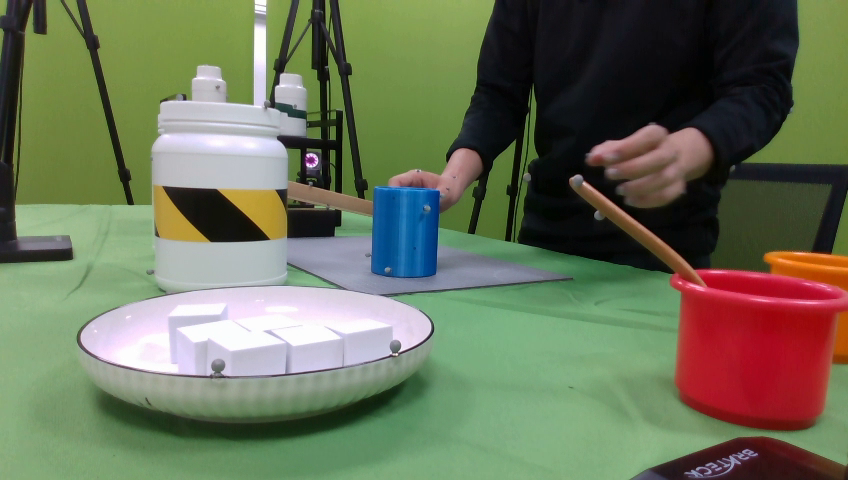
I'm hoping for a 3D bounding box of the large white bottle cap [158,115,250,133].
[{"bbox_3d":[-0.291,-0.153,0.803,0.115,0.018,0.115,1,7,0],"label":"large white bottle cap"}]

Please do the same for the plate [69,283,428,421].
[{"bbox_3d":[-0.102,0.066,0.381,0.208,0.039,0.207,2,7,0],"label":"plate"}]

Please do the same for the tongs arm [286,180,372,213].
[{"bbox_3d":[-0.122,-0.066,1.147,0.387,0.026,0.050,11,-2,-37],"label":"tongs arm"}]

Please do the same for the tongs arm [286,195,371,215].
[{"bbox_3d":[-0.165,-0.075,1.216,0.389,0.027,0.028,11,-6,-24],"label":"tongs arm"}]

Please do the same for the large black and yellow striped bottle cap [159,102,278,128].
[{"bbox_3d":[-0.207,-0.125,0.615,0.115,0.019,0.115,2,6,0],"label":"large black and yellow striped bottle cap"}]

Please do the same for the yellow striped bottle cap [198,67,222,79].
[{"bbox_3d":[-0.412,-0.320,1.162,0.044,0.018,0.044,1,6,0],"label":"yellow striped bottle cap"}]

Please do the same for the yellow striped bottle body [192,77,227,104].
[{"bbox_3d":[-0.414,-0.268,1.169,0.063,0.120,0.063,2,7,0],"label":"yellow striped bottle body"}]

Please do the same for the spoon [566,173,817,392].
[{"bbox_3d":[0.161,0.024,0.370,0.193,0.021,0.042,47,17,3],"label":"spoon"}]

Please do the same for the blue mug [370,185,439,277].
[{"bbox_3d":[-0.025,-0.016,0.761,0.082,0.106,0.116,2,7,-2],"label":"blue mug"}]

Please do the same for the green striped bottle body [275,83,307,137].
[{"bbox_3d":[-0.269,-0.269,1.221,0.063,0.119,0.063,2,7,0],"label":"green striped bottle body"}]

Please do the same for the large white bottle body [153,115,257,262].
[{"bbox_3d":[-0.293,-0.070,0.813,0.131,0.184,0.130,2,7,0],"label":"large white bottle body"}]

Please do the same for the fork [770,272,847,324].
[{"bbox_3d":[0.331,0.018,0.443,0.028,0.018,0.207,-1,-36,-16],"label":"fork"}]

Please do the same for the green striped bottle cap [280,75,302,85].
[{"bbox_3d":[-0.267,-0.320,1.216,0.044,0.020,0.044,3,9,0],"label":"green striped bottle cap"}]

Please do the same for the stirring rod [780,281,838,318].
[{"bbox_3d":[0.344,0.019,0.461,0.014,0.006,0.176,-14,-26,-31],"label":"stirring rod"}]

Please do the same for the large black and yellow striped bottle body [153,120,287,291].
[{"bbox_3d":[-0.208,-0.042,0.626,0.131,0.184,0.130,2,7,0],"label":"large black and yellow striped bottle body"}]
